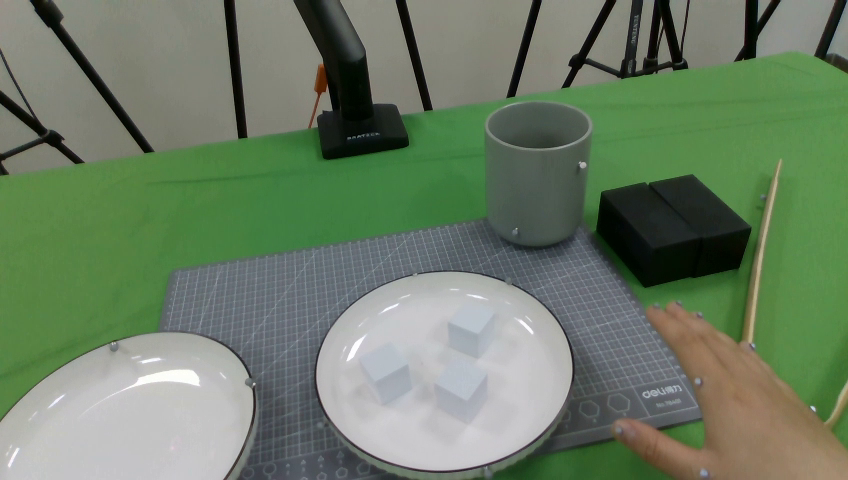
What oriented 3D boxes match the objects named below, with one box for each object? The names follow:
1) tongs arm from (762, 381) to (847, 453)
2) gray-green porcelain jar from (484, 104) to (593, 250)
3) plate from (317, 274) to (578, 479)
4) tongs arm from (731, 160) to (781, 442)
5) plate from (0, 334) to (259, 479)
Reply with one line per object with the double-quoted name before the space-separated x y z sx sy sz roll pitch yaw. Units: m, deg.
"tongs arm" 0.393 0.051 0.537 0.050 0.027 0.384 26 49 33
"gray-green porcelain jar" 0.116 -0.062 0.631 0.106 0.127 0.105 -3 38 3
"plate" 0.019 0.109 0.497 0.207 0.039 0.205 -3 38 3
"tongs arm" 0.327 0.028 0.579 0.028 0.028 0.386 17 44 22
"plate" -0.227 0.159 0.460 0.209 0.038 0.207 -4 38 4
